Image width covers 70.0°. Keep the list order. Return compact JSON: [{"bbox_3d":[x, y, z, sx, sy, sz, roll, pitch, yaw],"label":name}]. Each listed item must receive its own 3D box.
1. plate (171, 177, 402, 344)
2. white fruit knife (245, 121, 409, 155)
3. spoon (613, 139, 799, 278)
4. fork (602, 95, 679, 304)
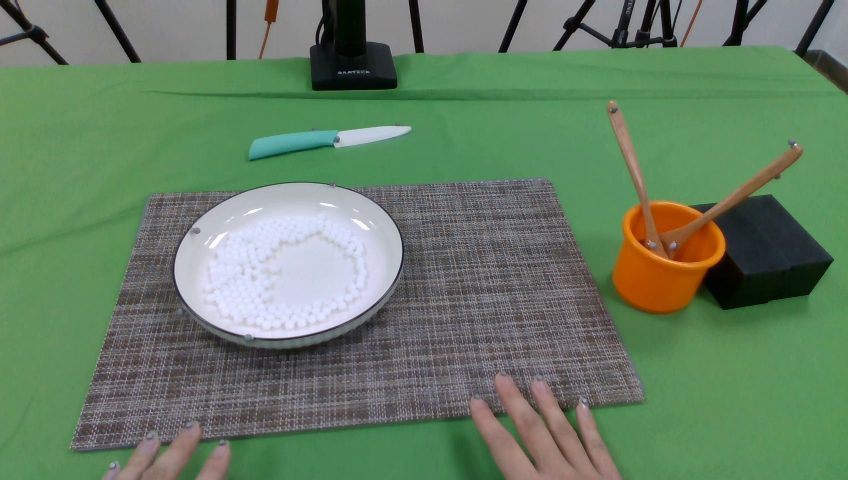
[{"bbox_3d":[-0.124,0.017,0.571,0.209,0.038,0.207,2,43,-2],"label":"plate"},{"bbox_3d":[-0.117,-0.131,0.751,0.208,0.016,0.027,-11,74,-18],"label":"white fruit knife"},{"bbox_3d":[0.261,-0.028,0.567,0.041,0.194,0.022,54,23,7],"label":"spoon"},{"bbox_3d":[0.205,-0.040,0.580,0.028,0.018,0.207,-16,91,-5],"label":"fork"}]
